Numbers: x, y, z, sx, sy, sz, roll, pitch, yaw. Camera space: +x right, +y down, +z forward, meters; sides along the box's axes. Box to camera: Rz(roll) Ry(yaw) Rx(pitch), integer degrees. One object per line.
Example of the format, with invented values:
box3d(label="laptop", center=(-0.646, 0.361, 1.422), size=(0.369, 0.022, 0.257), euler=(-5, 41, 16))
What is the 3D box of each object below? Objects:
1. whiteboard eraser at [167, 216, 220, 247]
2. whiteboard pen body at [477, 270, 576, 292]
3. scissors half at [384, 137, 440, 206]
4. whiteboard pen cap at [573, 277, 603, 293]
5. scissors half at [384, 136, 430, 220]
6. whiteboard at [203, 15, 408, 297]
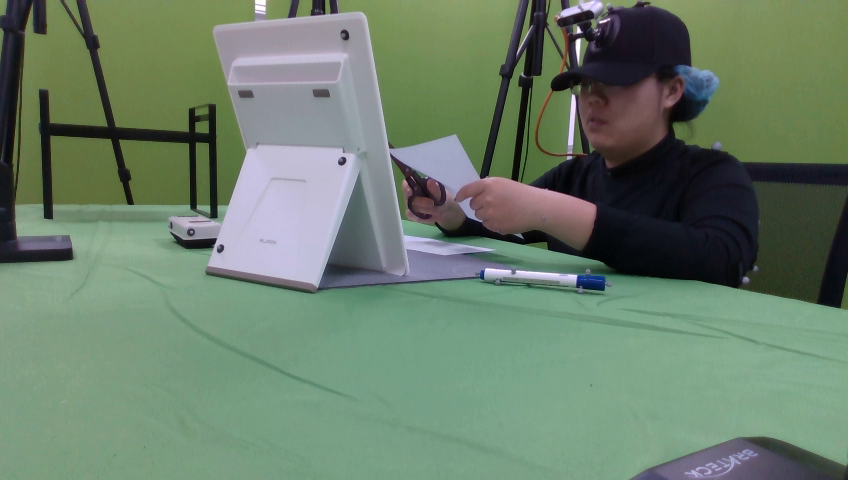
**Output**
box3d(label="whiteboard eraser", center=(-0.350, -0.013, 0.920), size=(0.056, 0.042, 0.112), euler=(0, 7, -35))
box3d(label="whiteboard pen body", center=(0.131, 0.048, 0.707), size=(0.140, 0.017, 0.017), euler=(4, 8, 17))
box3d(label="scissors half", center=(-0.020, -0.114, 0.991), size=(0.012, 0.040, 0.176), euler=(21, -16, 42))
box3d(label="whiteboard pen cap", center=(0.186, 0.051, 0.687), size=(0.033, 0.018, 0.018), euler=(4, 8, 17))
box3d(label="scissors half", center=(-0.031, -0.098, 0.984), size=(0.013, 0.176, 0.040), euler=(14, 52, 40))
box3d(label="whiteboard", center=(-0.166, -0.072, 0.668), size=(0.216, 0.305, 0.144), euler=(8, 30, 30))
